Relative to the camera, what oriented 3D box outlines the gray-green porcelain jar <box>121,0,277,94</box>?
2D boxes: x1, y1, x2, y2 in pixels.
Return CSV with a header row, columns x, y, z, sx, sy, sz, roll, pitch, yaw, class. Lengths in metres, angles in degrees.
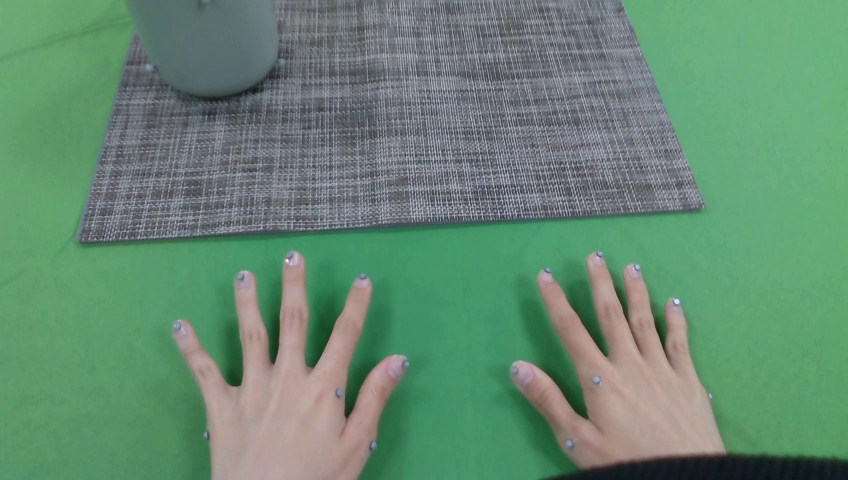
x,y,z,sx,sy,sz,roll,pitch,yaw,class
-0.172,-0.186,0.462,0.106,0.127,0.105,1,57,-1,gray-green porcelain jar
